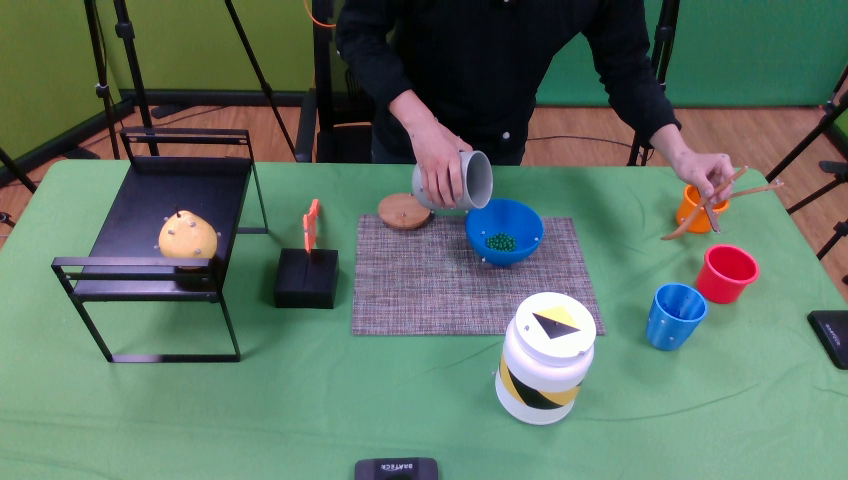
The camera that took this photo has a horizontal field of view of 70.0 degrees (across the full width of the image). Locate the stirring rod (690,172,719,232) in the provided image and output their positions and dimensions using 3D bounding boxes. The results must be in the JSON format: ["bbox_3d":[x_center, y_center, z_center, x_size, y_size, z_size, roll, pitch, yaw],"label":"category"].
[{"bbox_3d":[0.565,-0.081,1.224,0.014,0.006,0.175,5,46,-1],"label":"stirring rod"}]

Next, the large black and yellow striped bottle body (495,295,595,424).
[{"bbox_3d":[0.183,0.182,0.923,0.131,0.185,0.130,2,46,-2],"label":"large black and yellow striped bottle body"}]

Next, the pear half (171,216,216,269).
[{"bbox_3d":[-0.323,0.007,0.866,0.031,0.088,0.070,25,46,20],"label":"pear half"}]

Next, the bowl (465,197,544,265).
[{"bbox_3d":[0.149,-0.004,1.167,0.151,0.077,0.150,2,46,-2],"label":"bowl"}]

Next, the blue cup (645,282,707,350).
[{"bbox_3d":[0.425,0.136,1.042,0.093,0.101,0.092,1,44,-1],"label":"blue cup"}]

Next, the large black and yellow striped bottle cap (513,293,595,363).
[{"bbox_3d":[0.186,0.123,0.863,0.115,0.019,0.114,3,45,-3],"label":"large black and yellow striped bottle cap"}]

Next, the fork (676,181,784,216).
[{"bbox_3d":[0.618,-0.083,1.235,0.019,0.207,0.028,55,40,-15],"label":"fork"}]

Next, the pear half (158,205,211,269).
[{"bbox_3d":[-0.352,-0.015,0.872,0.056,0.110,0.076,25,46,20],"label":"pear half"}]

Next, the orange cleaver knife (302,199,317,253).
[{"bbox_3d":[-0.219,-0.031,1.168,0.012,0.077,0.210,-4,17,-3],"label":"orange cleaver knife"}]

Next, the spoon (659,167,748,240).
[{"bbox_3d":[0.480,-0.060,1.048,0.042,0.194,0.021,-16,59,-42],"label":"spoon"}]

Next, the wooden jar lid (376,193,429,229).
[{"bbox_3d":[-0.044,-0.059,1.246,0.108,0.021,0.107,3,40,-2],"label":"wooden jar lid"}]

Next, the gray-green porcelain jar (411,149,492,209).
[{"bbox_3d":[0.048,-0.110,1.121,0.126,0.106,0.105,1,39,34],"label":"gray-green porcelain jar"}]
